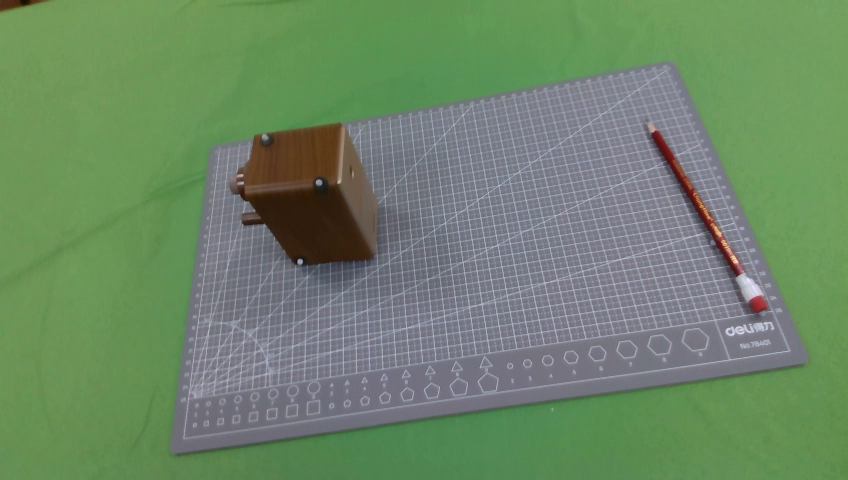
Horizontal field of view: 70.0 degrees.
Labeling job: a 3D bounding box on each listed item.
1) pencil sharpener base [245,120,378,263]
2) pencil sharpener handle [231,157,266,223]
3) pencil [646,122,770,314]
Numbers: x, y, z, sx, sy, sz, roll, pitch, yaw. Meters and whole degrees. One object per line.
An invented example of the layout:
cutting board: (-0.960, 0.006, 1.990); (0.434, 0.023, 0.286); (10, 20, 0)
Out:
pencil sharpener base: (-0.085, -0.033, 0.475); (0.076, 0.108, 0.061); (-6, 58, 8)
pencil sharpener handle: (-0.137, -0.035, 0.471); (0.030, 0.068, 0.035); (-6, 57, 8)
pencil: (0.215, -0.027, 0.472); (0.012, 0.012, 0.192); (-16, 56, 1)
